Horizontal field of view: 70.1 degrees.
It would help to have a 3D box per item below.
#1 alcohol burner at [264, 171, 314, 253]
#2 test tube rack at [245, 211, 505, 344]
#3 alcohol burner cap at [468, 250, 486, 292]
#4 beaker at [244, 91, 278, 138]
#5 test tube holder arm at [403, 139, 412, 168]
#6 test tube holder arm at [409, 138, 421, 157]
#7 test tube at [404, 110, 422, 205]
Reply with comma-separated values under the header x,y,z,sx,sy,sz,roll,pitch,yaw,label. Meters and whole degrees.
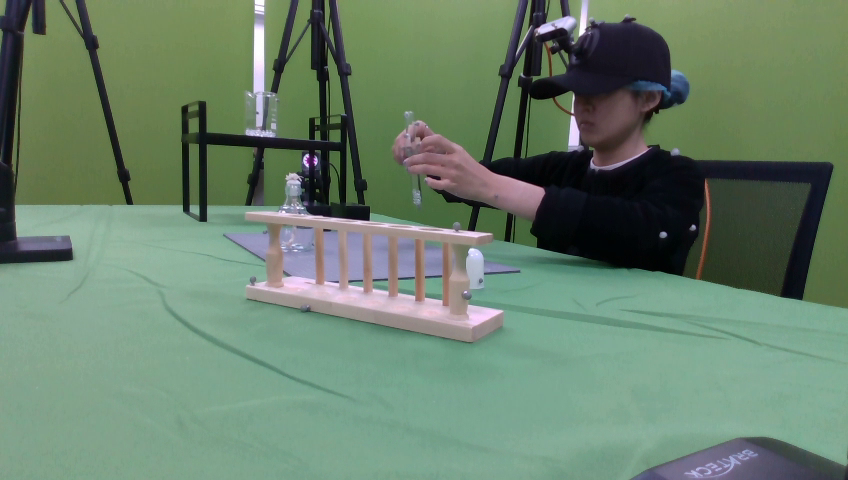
x,y,z,sx,sy,sz,roll,pitch,yaw,label
-0.194,-0.042,0.888,0.078,0.119,0.078,3,5,0,alcohol burner
-0.049,0.025,0.547,0.241,0.085,0.067,7,8,29,test tube rack
0.056,0.035,0.690,0.034,0.048,0.034,2,7,0,alcohol burner cap
-0.368,-0.280,1.356,0.074,0.100,0.084,4,8,6,beaker
-0.029,-0.146,1.029,0.013,0.015,0.178,-1,-4,-5,test tube holder arm
-0.018,-0.149,0.986,0.010,0.015,0.087,-1,-4,-12,test tube holder arm
-0.017,-0.130,0.965,0.017,0.150,0.017,-5,7,1,test tube
